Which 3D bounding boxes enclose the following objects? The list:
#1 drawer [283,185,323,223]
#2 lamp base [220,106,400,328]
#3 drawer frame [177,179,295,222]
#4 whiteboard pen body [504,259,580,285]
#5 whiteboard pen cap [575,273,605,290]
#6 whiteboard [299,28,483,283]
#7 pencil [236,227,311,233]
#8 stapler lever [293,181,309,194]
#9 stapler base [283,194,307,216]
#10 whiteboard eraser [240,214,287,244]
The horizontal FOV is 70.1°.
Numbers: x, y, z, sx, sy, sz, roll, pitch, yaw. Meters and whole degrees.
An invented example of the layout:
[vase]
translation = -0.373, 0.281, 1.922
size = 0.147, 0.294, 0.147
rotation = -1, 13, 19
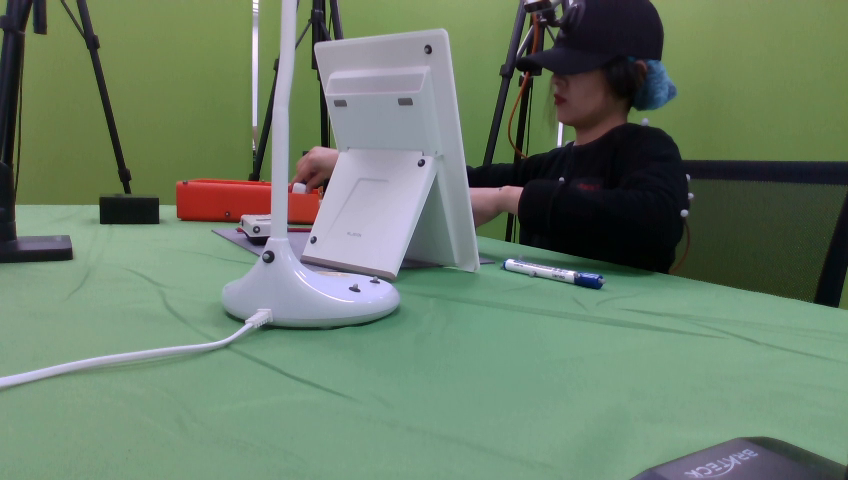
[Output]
[drawer]
translation = -0.329, -0.084, 1.325
size = 0.212, 0.073, 0.194
rotation = 1, 9, -8
[lamp base]
translation = -0.101, -0.023, 0.531
size = 0.160, 0.180, 0.179
rotation = 4, 10, 10
[drawer frame]
translation = -0.397, -0.088, 1.315
size = 0.214, 0.082, 0.201
rotation = 1, 8, -7
[whiteboard pen body]
translation = 0.157, 0.042, 0.764
size = 0.017, 0.017, 0.140
rotation = -4, 10, -41
[whiteboard pen cap]
translation = 0.197, 0.048, 0.719
size = 0.018, 0.018, 0.033
rotation = -4, 11, -41
[whiteboard]
translation = -0.075, -0.082, 0.741
size = 0.216, 0.305, 0.144
rotation = 9, 30, 38
[pencil]
translation = -0.238, -0.017, 1.093
size = 0.195, 0.012, 0.012
rotation = 1, 7, -27
[stapler lever]
translation = -0.264, -0.108, 1.301
size = 0.027, 0.040, 0.118
rotation = 22, 6, -10
[stapler base]
translation = -0.274, -0.080, 1.304
size = 0.041, 0.024, 0.130
rotation = 22, 11, -11
[whiteboard eraser]
translation = -0.256, -0.018, 0.958
size = 0.056, 0.042, 0.112
rotation = 0, 8, -25
